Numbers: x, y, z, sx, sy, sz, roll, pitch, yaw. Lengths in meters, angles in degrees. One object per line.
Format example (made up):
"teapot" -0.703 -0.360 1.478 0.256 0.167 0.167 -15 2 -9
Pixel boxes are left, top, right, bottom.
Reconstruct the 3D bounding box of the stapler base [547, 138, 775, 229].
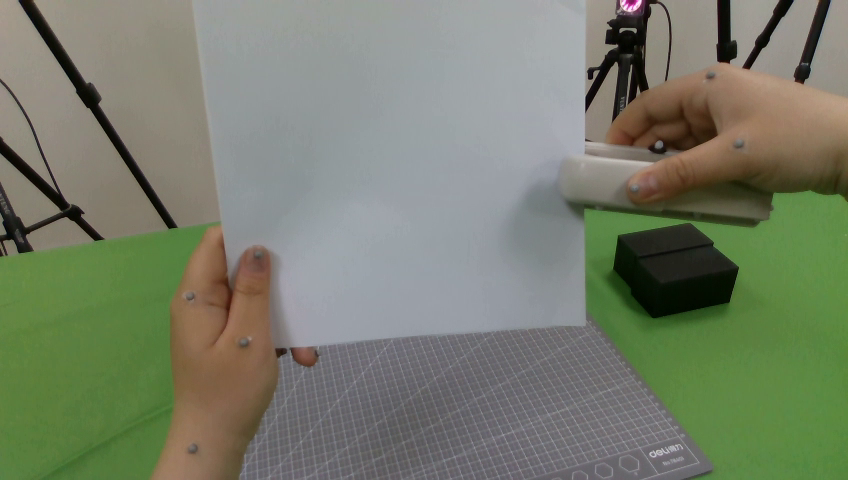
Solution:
"stapler base" 0.140 -0.034 0.356 0.130 0.041 0.024 8 7 5

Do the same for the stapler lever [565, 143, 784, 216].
"stapler lever" 0.138 -0.034 0.337 0.118 0.027 0.040 9 6 11
